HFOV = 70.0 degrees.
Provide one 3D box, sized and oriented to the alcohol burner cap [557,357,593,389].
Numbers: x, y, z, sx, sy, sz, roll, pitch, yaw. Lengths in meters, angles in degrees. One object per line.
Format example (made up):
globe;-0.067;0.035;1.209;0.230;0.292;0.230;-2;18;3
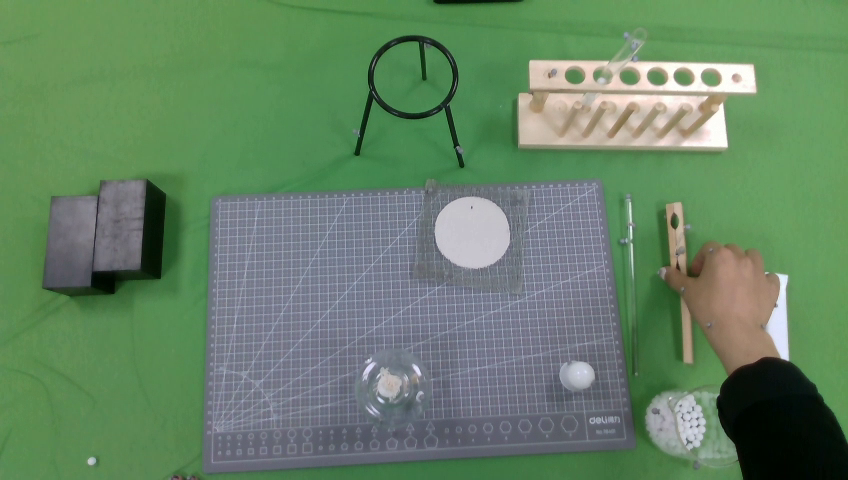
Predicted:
alcohol burner cap;0.160;0.138;0.633;0.034;0.048;0.033;0;77;0

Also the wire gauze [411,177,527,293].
wire gauze;0.052;-0.008;0.684;0.125;0.011;0.121;8;78;0

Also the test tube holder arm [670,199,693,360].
test tube holder arm;0.285;0.042;0.672;0.013;0.015;0.177;-9;76;32

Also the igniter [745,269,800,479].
igniter;0.365;0.167;0.639;0.057;0.025;0.275;7;76;-9

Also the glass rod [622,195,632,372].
glass rod;0.227;0.046;0.675;0.008;0.008;0.199;3;79;0

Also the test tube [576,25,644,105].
test tube;0.192;-0.179;0.638;0.017;0.150;0.017;1;78;-5

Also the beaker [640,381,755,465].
beaker;0.261;0.176;0.599;0.084;0.101;0.074;29;77;7

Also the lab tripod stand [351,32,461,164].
lab tripod stand;-0.017;-0.146;0.654;0.148;0.132;0.147;0;78;0

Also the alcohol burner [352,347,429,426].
alcohol burner;-0.034;0.142;0.593;0.078;0.119;0.077;0;75;1

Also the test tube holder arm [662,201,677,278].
test tube holder arm;0.279;-0.001;0.684;0.010;0.015;0.087;-9;76;32

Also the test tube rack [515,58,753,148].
test tube rack;0.229;-0.152;0.683;0.242;0.085;0.066;1;76;0
